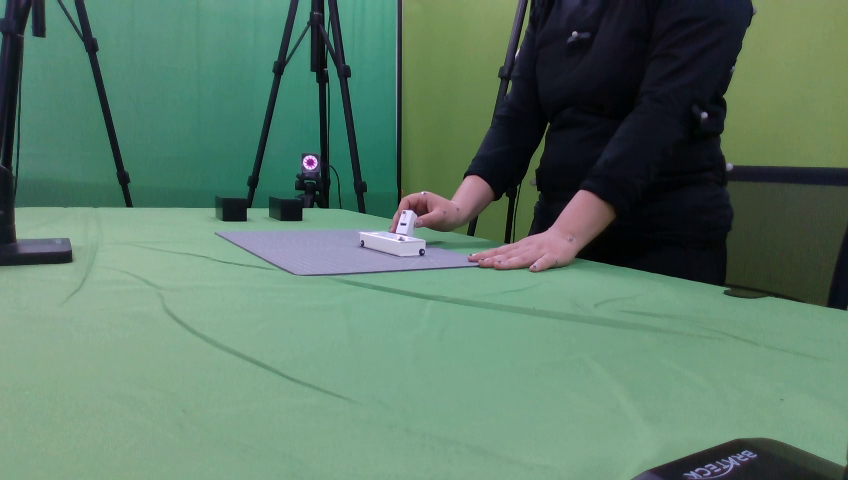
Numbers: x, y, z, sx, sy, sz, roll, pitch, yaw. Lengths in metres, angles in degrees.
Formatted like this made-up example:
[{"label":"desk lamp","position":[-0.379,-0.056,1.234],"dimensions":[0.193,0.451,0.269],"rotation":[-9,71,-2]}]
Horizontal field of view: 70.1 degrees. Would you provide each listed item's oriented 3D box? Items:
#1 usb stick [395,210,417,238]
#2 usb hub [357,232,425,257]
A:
[{"label":"usb stick","position":[-0.031,-0.018,1.016],"dimensions":[0.021,0.059,0.027],"rotation":[6,-18,26]},{"label":"usb hub","position":[-0.055,0.005,0.947],"dimensions":[0.050,0.025,0.124],"rotation":[-3,9,-36]}]
